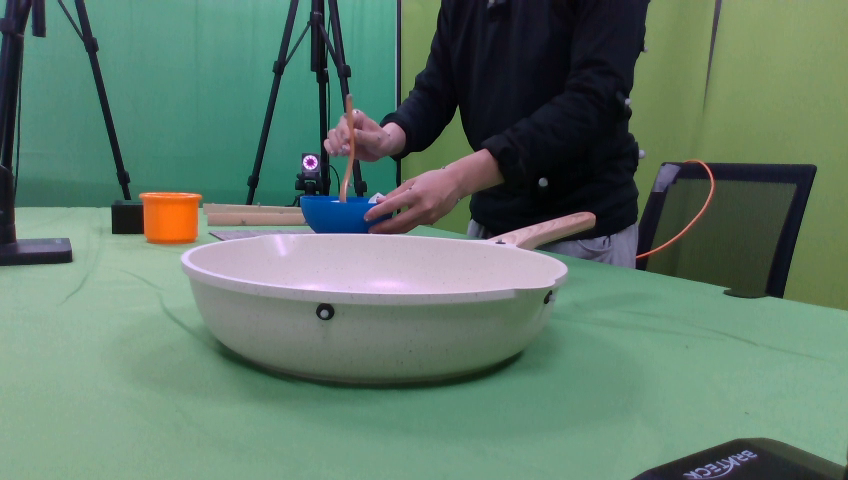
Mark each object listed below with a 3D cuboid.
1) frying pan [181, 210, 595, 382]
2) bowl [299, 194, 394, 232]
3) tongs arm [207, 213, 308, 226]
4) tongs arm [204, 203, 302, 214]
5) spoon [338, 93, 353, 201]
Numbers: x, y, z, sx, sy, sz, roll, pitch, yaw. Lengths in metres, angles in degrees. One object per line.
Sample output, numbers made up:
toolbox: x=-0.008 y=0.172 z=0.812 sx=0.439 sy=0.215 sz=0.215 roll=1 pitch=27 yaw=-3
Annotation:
frying pan: x=0.035 y=0.019 z=0.557 sx=0.305 sy=0.102 sz=0.490 roll=10 pitch=19 yaw=42
bowl: x=-0.123 y=-0.029 z=0.958 sx=0.151 sy=0.077 sz=0.151 roll=3 pitch=7 yaw=0
tongs arm: x=-0.264 y=-0.046 z=1.297 sx=0.390 sy=0.028 sz=0.028 roll=-2 pitch=7 yaw=-32
tongs arm: x=-0.295 y=-0.062 z=1.370 sx=0.386 sy=0.026 sz=0.050 roll=1 pitch=9 yaw=-19
spoon: x=-0.119 y=-0.128 z=0.933 sx=0.022 sy=0.193 sz=0.041 roll=4 pitch=3 yaw=-6
